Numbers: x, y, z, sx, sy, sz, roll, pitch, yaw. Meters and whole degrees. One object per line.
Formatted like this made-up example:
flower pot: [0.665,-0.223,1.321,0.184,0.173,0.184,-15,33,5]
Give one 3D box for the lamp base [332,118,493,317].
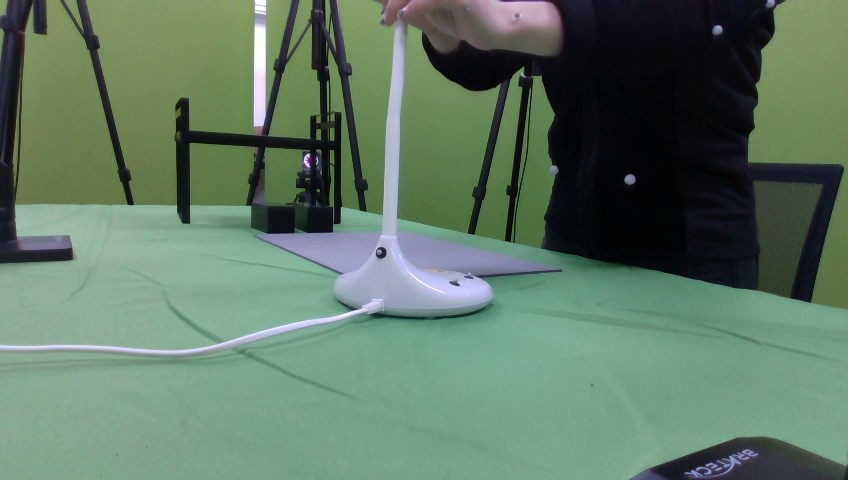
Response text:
lamp base: [-0.012,-0.025,0.584,0.160,0.180,0.179,4,10,15]
